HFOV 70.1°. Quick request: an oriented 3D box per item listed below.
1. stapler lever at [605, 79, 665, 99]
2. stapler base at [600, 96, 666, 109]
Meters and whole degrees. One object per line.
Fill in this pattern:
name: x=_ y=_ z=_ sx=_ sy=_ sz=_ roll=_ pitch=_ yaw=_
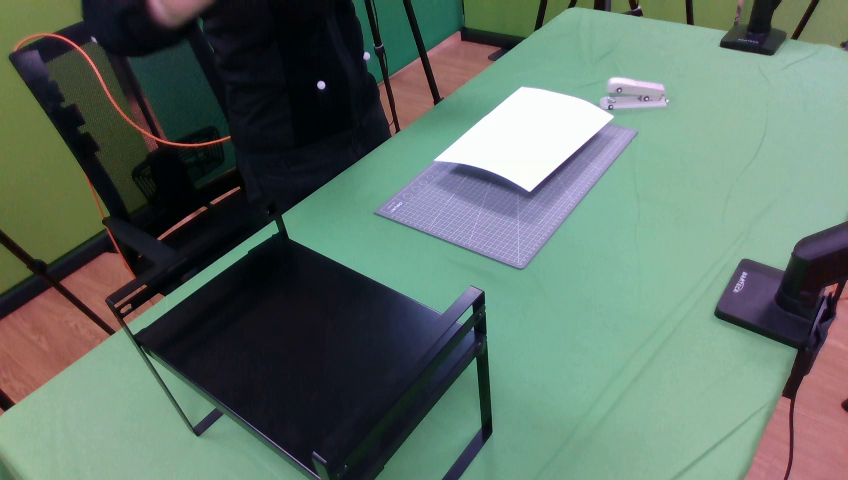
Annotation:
stapler lever: x=0.431 y=-0.310 z=1.235 sx=0.118 sy=0.040 sz=0.026 roll=-1 pitch=44 yaw=7
stapler base: x=0.432 y=-0.292 z=1.250 sx=0.130 sy=0.024 sz=0.041 roll=0 pitch=45 yaw=7
